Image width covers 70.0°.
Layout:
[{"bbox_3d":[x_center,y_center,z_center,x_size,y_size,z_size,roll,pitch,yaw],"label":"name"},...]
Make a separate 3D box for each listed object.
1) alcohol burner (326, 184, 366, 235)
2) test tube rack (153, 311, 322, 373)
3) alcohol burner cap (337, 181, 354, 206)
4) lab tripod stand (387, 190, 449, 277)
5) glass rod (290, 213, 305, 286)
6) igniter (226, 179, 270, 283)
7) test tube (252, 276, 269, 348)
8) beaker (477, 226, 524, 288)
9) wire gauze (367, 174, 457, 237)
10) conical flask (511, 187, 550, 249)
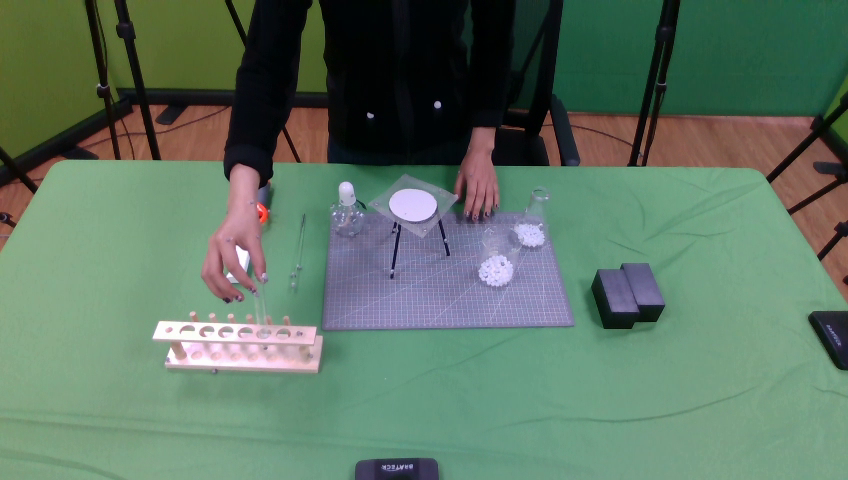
[{"bbox_3d":[-0.152,-0.066,1.184,0.078,0.119,0.077,4,46,-4],"label":"alcohol burner"},{"bbox_3d":[-0.293,0.160,0.978,0.242,0.085,0.066,3,46,-2],"label":"test tube rack"},{"bbox_3d":[-0.151,-0.090,1.157,0.034,0.048,0.033,0,51,0],"label":"alcohol burner cap"},{"bbox_3d":[-0.021,-0.018,1.135,0.148,0.132,0.147,3,44,-3],"label":"lab tripod stand"},{"bbox_3d":[-0.245,0.015,1.175,0.008,0.008,0.198,1,44,-3],"label":"glass rod"},{"bbox_3d":[-0.345,-0.027,1.195,0.057,0.025,0.274,-6,46,5],"label":"igniter"},{"bbox_3d":[-0.245,0.111,0.912,0.017,0.151,0.017,5,41,-4],"label":"test tube"},{"bbox_3d":[0.139,0.033,1.121,0.084,0.101,0.073,-12,48,-16],"label":"beaker"},{"bbox_3d":[-0.021,-0.067,1.089,0.124,0.011,0.121,28,49,21],"label":"wire gauze"},{"bbox_3d":[0.217,-0.048,1.190,0.075,0.122,0.075,2,46,-2],"label":"conical flask"}]
